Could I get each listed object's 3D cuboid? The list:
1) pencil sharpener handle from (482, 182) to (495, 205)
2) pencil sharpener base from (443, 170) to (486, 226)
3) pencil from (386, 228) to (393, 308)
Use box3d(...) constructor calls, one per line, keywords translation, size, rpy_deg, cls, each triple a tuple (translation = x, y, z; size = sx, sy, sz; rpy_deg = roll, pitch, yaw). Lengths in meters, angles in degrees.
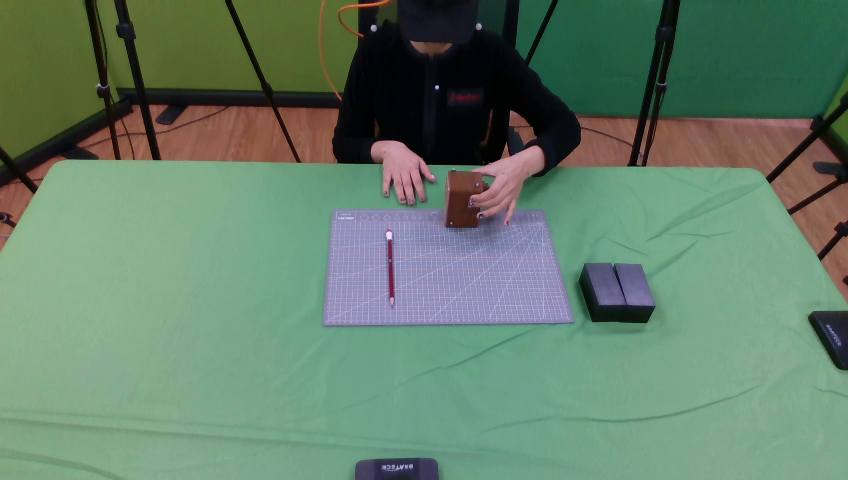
box3d(translation=(0.132, -0.093, 1.217), size=(0.031, 0.068, 0.036), rpy_deg=(1, 57, -3), cls="pencil sharpener handle")
box3d(translation=(0.080, -0.083, 1.221), size=(0.077, 0.107, 0.061), rpy_deg=(1, 46, -3), cls="pencil sharpener base")
box3d(translation=(-0.065, 0.050, 1.152), size=(0.012, 0.012, 0.193), rpy_deg=(-1, 48, -4), cls="pencil")
